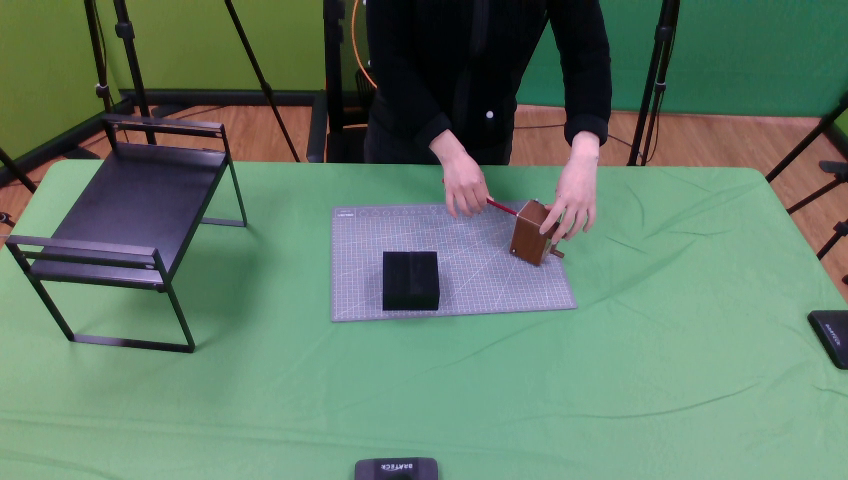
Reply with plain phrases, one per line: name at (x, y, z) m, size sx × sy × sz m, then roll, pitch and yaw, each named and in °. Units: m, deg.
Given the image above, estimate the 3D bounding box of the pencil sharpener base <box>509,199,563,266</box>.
pencil sharpener base at (0.216, -0.012, 1.160) m, size 0.076 × 0.107 × 0.061 m, roll 27°, pitch 50°, yaw 20°

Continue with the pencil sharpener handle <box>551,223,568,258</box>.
pencil sharpener handle at (0.258, 0.002, 1.133) m, size 0.030 × 0.068 × 0.036 m, roll 27°, pitch 41°, yaw 20°

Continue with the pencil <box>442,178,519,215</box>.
pencil at (0.116, -0.083, 1.186) m, size 0.193 × 0.012 × 0.012 m, roll 27°, pitch 50°, yaw 24°
